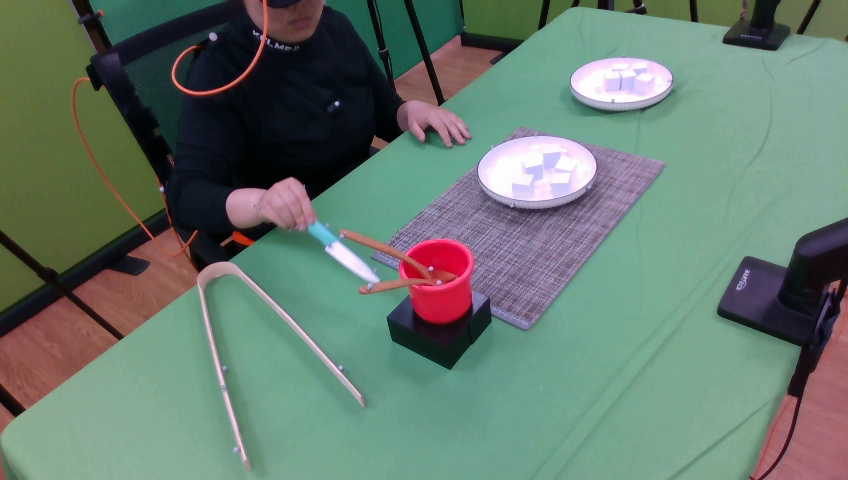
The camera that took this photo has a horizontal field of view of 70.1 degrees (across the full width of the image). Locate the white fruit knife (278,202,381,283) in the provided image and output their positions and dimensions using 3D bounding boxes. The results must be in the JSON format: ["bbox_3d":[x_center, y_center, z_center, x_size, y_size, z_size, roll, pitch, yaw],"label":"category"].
[{"bbox_3d":[-0.140,0.003,0.896,0.206,0.016,0.027,37,96,19],"label":"white fruit knife"}]

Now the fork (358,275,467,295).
[{"bbox_3d":[-0.009,0.056,0.739,0.028,0.018,0.209,48,23,26],"label":"fork"}]

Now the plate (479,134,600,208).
[{"bbox_3d":[0.202,-0.117,1.065,0.207,0.039,0.206,-5,40,5],"label":"plate"}]

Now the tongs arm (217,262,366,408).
[{"bbox_3d":[-0.200,0.123,0.871,0.028,0.028,0.384,-35,46,-24],"label":"tongs arm"}]

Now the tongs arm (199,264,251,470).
[{"bbox_3d":[-0.270,0.154,0.841,0.051,0.026,0.381,-23,40,-17],"label":"tongs arm"}]

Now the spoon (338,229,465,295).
[{"bbox_3d":[-0.025,0.026,0.776,0.021,0.195,0.041,-41,34,32],"label":"spoon"}]

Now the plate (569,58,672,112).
[{"bbox_3d":[0.411,-0.323,1.274,0.209,0.038,0.208,-5,41,5],"label":"plate"}]
